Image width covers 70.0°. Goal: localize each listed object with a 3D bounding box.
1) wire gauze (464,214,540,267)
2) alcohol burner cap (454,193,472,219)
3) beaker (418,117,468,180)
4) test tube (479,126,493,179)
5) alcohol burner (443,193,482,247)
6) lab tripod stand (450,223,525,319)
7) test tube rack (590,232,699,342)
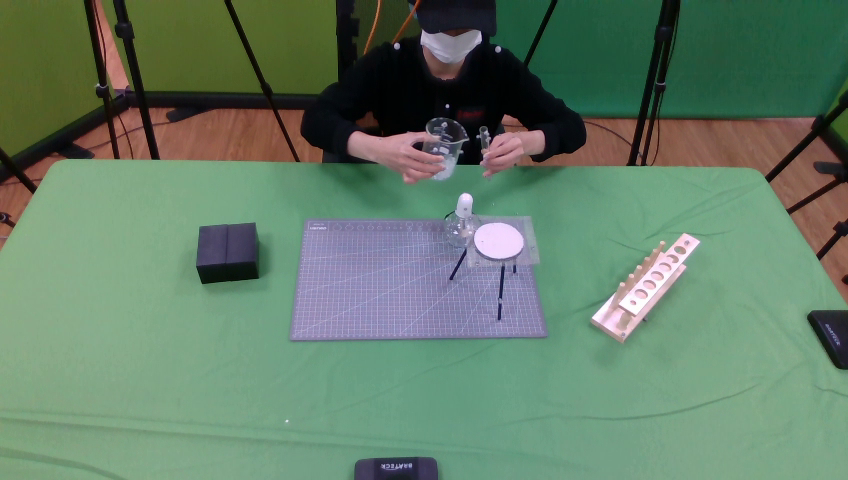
[{"bbox_3d":[0.131,-0.002,1.034,0.121,0.011,0.124,1,45,-2],"label":"wire gauze"},{"bbox_3d":[0.076,-0.068,1.151,0.034,0.048,0.033,4,46,-4],"label":"alcohol burner cap"},{"bbox_3d":[0.033,-0.168,1.137,0.084,0.100,0.073,14,48,-2],"label":"beaker"},{"bbox_3d":[0.122,-0.169,1.186,0.017,0.151,0.017,-5,58,8],"label":"test tube"},{"bbox_3d":[0.075,-0.044,1.177,0.078,0.120,0.077,1,44,-1],"label":"alcohol burner"},{"bbox_3d":[0.120,0.046,1.080,0.148,0.132,0.147,1,47,-1],"label":"lab tripod stand"},{"bbox_3d":[0.407,0.074,1.112,0.066,0.085,0.242,35,53,26],"label":"test tube rack"}]
